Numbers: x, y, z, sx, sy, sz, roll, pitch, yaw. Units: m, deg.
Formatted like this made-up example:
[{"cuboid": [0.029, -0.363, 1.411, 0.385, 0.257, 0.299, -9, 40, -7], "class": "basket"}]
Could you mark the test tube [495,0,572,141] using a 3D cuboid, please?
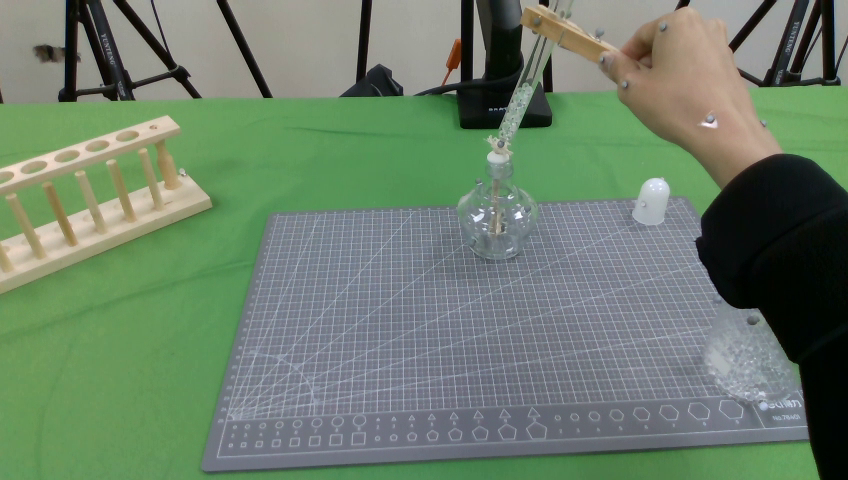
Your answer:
[{"cuboid": [0.087, -0.141, 0.472, 0.017, 0.151, 0.017, 12, 41, -10], "class": "test tube"}]

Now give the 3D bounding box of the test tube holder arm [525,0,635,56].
[{"cuboid": [0.118, -0.158, 0.449, 0.088, 0.010, 0.015, 20, 54, -2], "class": "test tube holder arm"}]

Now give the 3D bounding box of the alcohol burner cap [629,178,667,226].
[{"cuboid": [0.230, -0.041, 0.619, 0.034, 0.048, 0.033, 0, 40, 1], "class": "alcohol burner cap"}]

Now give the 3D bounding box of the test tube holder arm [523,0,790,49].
[{"cuboid": [0.159, -0.158, 0.432, 0.177, 0.013, 0.015, -4, 46, 26], "class": "test tube holder arm"}]

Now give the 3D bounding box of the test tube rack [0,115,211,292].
[{"cuboid": [-0.345, -0.035, 0.590, 0.242, 0.086, 0.066, -28, 47, -29], "class": "test tube rack"}]

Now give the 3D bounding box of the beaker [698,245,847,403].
[{"cuboid": [0.248, 0.064, 0.446, 0.074, 0.101, 0.083, -22, 43, -23], "class": "beaker"}]

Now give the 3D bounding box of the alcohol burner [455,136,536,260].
[{"cuboid": [0.067, -0.041, 0.565, 0.078, 0.120, 0.077, -2, 38, 2], "class": "alcohol burner"}]
